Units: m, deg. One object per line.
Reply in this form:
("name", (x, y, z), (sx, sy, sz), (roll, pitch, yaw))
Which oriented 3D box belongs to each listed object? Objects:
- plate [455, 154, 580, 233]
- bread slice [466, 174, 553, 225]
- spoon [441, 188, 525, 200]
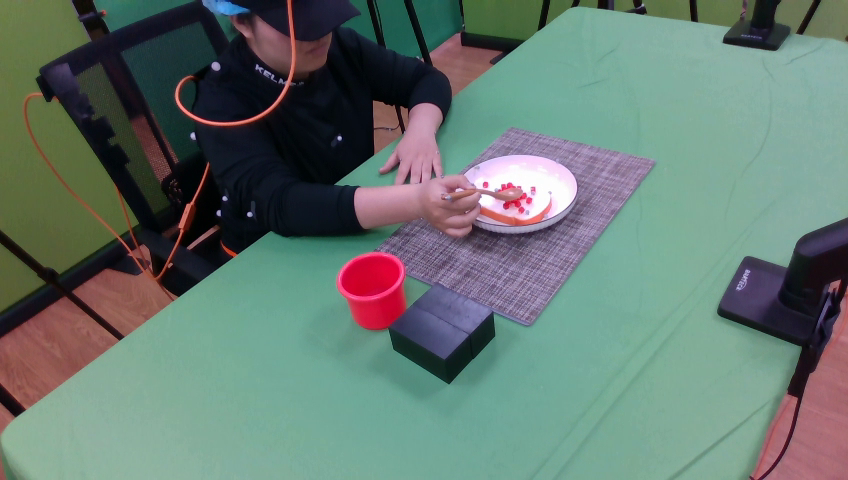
("plate", (0.158, -0.076, 1.028), (0.209, 0.038, 0.208), (-5, 40, 5))
("bread slice", (0.152, -0.067, 1.023), (0.130, 0.019, 0.105), (23, 50, 34))
("spoon", (0.091, -0.071, 0.926), (0.041, 0.021, 0.195), (15, 13, 41))
